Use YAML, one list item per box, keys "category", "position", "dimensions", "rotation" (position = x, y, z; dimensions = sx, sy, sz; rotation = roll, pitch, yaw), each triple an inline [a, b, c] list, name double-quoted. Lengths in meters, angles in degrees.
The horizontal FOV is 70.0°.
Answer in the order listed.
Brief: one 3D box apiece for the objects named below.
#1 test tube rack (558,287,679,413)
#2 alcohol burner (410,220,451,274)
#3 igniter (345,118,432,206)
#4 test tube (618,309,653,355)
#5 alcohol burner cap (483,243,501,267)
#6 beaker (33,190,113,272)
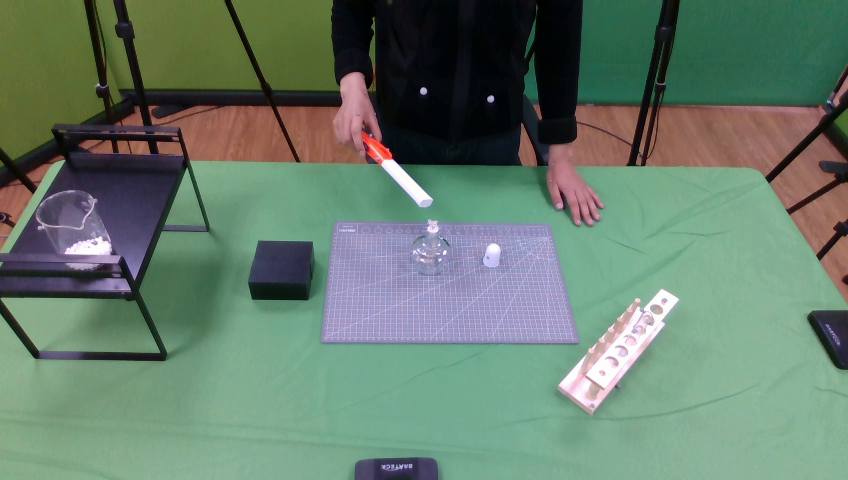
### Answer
- category: "test tube rack"
  position: [0.326, 0.170, 1.009]
  dimensions: [0.066, 0.085, 0.242]
  rotation: [36, 54, 27]
- category: "alcohol burner"
  position: [0.013, 0.007, 1.120]
  dimensions: [0.078, 0.120, 0.077]
  rotation: [1, 48, -1]
- category: "igniter"
  position: [-0.075, -0.154, 1.150]
  dimensions: [0.057, 0.025, 0.275]
  rotation: [-4, 42, -45]
- category: "test tube"
  position: [0.329, 0.155, 0.956]
  dimensions: [0.017, 0.151, 0.017]
  rotation: [2, 51, -2]
- category: "alcohol burner cap"
  position: [0.132, 0.025, 1.161]
  dimensions: [0.034, 0.048, 0.033]
  rotation: [3, 47, -3]
- category: "beaker"
  position: [-0.493, -0.009, 0.865]
  dimensions: [0.083, 0.101, 0.074]
  rotation: [37, 55, 27]
